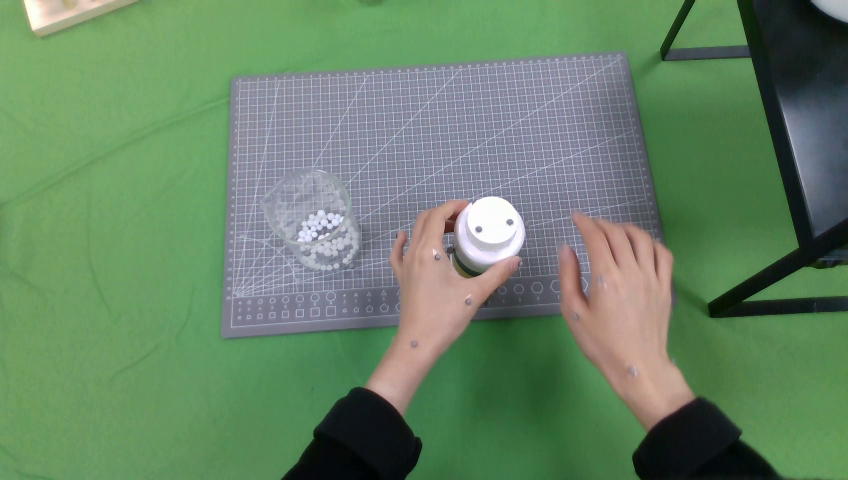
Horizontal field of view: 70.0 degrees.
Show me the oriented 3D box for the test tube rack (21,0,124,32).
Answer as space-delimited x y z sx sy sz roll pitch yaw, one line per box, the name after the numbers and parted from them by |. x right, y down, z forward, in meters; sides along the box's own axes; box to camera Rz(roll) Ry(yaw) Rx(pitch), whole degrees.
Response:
-0.362 -0.334 0.697 0.242 0.086 0.066 -24 72 -7 | test tube rack

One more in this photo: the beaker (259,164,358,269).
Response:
-0.105 -0.018 0.579 0.084 0.101 0.073 7 71 4 | beaker

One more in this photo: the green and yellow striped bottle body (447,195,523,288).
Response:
0.055 0.000 0.559 0.063 0.120 0.063 0 71 -1 | green and yellow striped bottle body

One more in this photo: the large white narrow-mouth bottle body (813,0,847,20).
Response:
0.353 -0.250 0.414 0.102 0.196 0.101 -1 70 3 | large white narrow-mouth bottle body

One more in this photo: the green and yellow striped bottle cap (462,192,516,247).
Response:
0.055 -0.018 0.510 0.045 0.020 0.045 1 73 -2 | green and yellow striped bottle cap
